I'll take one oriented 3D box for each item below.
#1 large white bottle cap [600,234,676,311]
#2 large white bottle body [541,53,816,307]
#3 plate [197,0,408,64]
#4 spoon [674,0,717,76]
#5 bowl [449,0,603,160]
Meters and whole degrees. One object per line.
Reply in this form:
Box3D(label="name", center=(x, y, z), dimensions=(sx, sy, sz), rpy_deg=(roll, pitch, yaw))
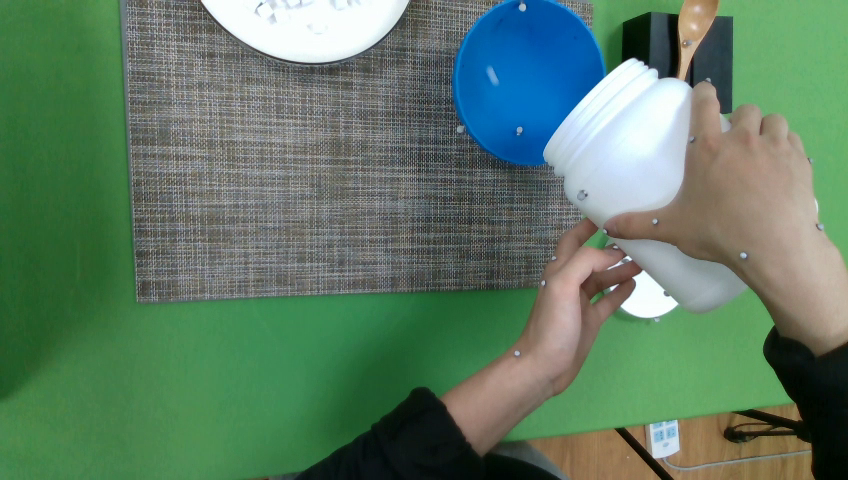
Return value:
Box3D(label="large white bottle cap", center=(0.256, 0.025, 0.693), dimensions=(0.115, 0.018, 0.115), rpy_deg=(-2, 98, -17))
Box3D(label="large white bottle body", center=(0.199, -0.051, 0.498), dimensions=(0.130, 0.131, 0.184), rpy_deg=(-43, 80, -7))
Box3D(label="plate", center=(-0.110, -0.259, 0.536), dimensions=(0.210, 0.038, 0.209), rpy_deg=(-1, 95, -16))
Box3D(label="spoon", center=(0.255, -0.164, 0.619), dimensions=(0.042, 0.021, 0.194), rpy_deg=(11, 99, -20))
Box3D(label="bowl", center=(0.087, -0.152, 0.586), dimensions=(0.152, 0.076, 0.151), rpy_deg=(-2, 98, -16))
